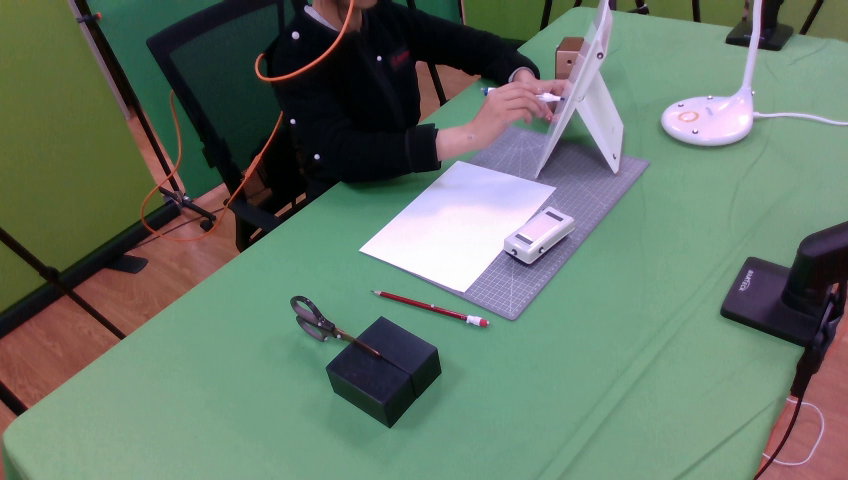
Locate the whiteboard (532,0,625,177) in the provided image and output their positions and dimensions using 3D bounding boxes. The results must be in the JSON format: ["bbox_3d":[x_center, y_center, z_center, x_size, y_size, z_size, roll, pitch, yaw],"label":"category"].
[{"bbox_3d":[0.320,-0.258,1.050,0.144,0.306,0.217,21,45,4],"label":"whiteboard"}]

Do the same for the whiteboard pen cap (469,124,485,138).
[{"bbox_3d":[0.107,-0.220,1.224,0.033,0.018,0.018,-38,48,-24],"label":"whiteboard pen cap"}]

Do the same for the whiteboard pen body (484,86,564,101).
[{"bbox_3d":[0.175,-0.255,1.058,0.140,0.017,0.017,8,42,7],"label":"whiteboard pen body"}]

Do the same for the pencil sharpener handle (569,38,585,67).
[{"bbox_3d":[0.333,-0.413,1.318,0.036,0.068,0.030,19,46,13],"label":"pencil sharpener handle"}]

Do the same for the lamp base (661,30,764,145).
[{"bbox_3d":[0.535,-0.287,1.096,0.179,0.181,0.159,-10,40,-4],"label":"lamp base"}]

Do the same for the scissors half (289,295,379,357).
[{"bbox_3d":[-0.122,0.114,0.803,0.174,0.040,0.013,26,50,32],"label":"scissors half"}]

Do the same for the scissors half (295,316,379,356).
[{"bbox_3d":[-0.119,0.131,0.813,0.173,0.040,0.013,9,34,45],"label":"scissors half"}]

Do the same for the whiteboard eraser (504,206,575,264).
[{"bbox_3d":[0.179,-0.006,0.936,0.113,0.042,0.055,-35,46,-27],"label":"whiteboard eraser"}]

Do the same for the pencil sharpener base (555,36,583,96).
[{"bbox_3d":[0.318,-0.371,1.290,0.061,0.107,0.076,10,44,22],"label":"pencil sharpener base"}]

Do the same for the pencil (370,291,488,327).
[{"bbox_3d":[0.003,0.097,0.877,0.193,0.012,0.012,13,45,26],"label":"pencil"}]
